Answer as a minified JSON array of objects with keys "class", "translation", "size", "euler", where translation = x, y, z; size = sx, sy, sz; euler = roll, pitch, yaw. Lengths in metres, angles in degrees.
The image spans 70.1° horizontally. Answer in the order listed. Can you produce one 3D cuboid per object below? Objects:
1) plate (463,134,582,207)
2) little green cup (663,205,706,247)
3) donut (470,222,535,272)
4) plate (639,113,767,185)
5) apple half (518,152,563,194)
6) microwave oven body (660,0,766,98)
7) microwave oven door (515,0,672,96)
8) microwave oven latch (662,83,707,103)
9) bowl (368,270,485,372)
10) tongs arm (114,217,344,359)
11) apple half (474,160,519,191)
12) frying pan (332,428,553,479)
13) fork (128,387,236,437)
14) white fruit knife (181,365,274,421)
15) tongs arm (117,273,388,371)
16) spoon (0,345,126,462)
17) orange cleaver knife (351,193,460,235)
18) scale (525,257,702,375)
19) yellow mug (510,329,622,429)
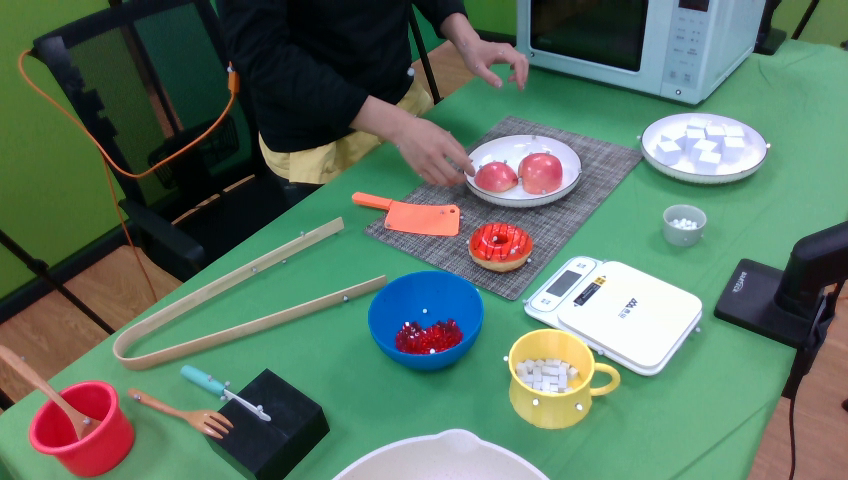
[{"class":"plate","translation":[0.173,-0.119,1.070],"size":[0.209,0.038,0.208],"euler":[-4,40,4]},{"class":"little green cup","translation":[0.396,-0.020,0.926],"size":[0.061,0.039,0.061],"euler":[-4,40,4]},{"class":"donut","translation":[0.119,0.009,0.923],"size":[0.099,0.048,0.098],"euler":[-4,38,3]},{"class":"plate","translation":[0.489,-0.157,1.074],"size":[0.207,0.039,0.206],"euler":[-4,40,4]},{"class":"apple half","translation":[0.203,-0.123,1.047],"size":[0.075,0.053,0.080],"euler":[-2,41,1]},{"class":"microwave oven body","translation":[0.472,-0.513,1.317],"size":[0.438,0.261,0.327],"euler":[26,51,34]},{"class":"microwave oven door","translation":[0.343,-0.454,1.259],"size":[0.353,0.245,0.039],"euler":[26,51,33]},{"class":"microwave oven latch","translation":[0.517,-0.296,1.204],"size":[0.078,0.029,0.030],"euler":[27,52,35]},{"class":"bowl","translation":[0.007,0.118,0.791],"size":[0.151,0.077,0.150],"euler":[-4,40,4]},{"class":"tongs arm","translation":[-0.280,0.068,0.927],"size":[0.386,0.026,0.050],"euler":[-29,48,-23]},{"class":"apple half","translation":[0.130,-0.119,1.067],"size":[0.081,0.033,0.081],"euler":[-3,36,3]},{"class":"frying pan","translation":[-0.089,0.306,0.564],"size":[0.487,0.103,0.306],"euler":[10,41,7]},{"class":"fork","translation":[-0.305,0.207,0.744],"size":[0.206,0.019,0.028],"euler":[3,41,36]},{"class":"white fruit knife","translation":[-0.245,0.187,0.747],"size":[0.205,0.027,0.016],"euler":[9,41,40]},{"class":"tongs arm","translation":[-0.236,0.115,0.869],"size":[0.389,0.028,0.028],"euler":[-18,48,-12]},{"class":"spoon","translation":[-0.434,0.192,0.720],"size":[0.194,0.021,0.042],"euler":[47,53,-7]},{"class":"orange cleaver knife","translation":[-0.036,-0.044,1.029],"size":[0.210,0.012,0.077],"euler":[10,48,18]},{"class":"scale","translation":[0.254,0.091,0.821],"size":[0.199,0.032,0.149],"euler":[28,51,35]},{"class":"yellow mug","translation":[0.168,0.164,0.721],"size":[0.130,0.064,0.099],"euler":[0,40,8]}]
